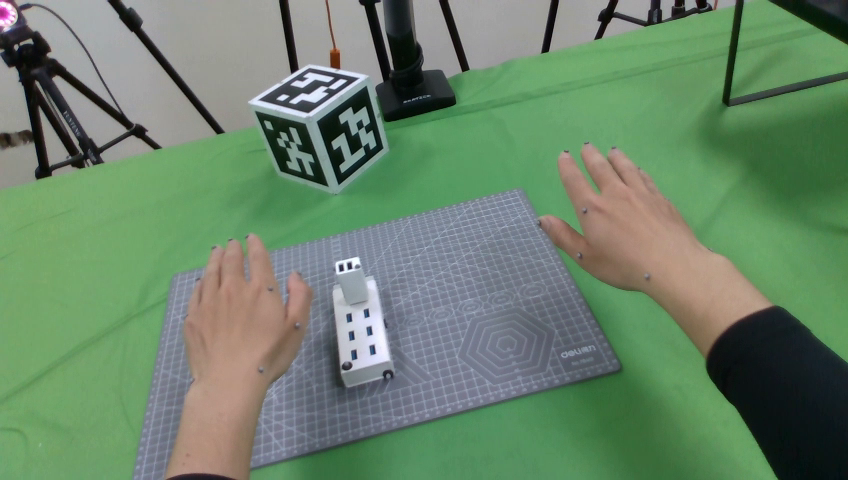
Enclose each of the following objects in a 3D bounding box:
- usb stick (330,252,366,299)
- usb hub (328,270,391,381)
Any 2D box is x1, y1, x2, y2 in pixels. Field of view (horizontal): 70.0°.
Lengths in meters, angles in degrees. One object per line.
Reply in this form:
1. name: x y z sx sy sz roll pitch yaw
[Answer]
1. usb stick: -0.076 0.041 0.623 0.027 0.060 0.021 -18 42 -3
2. usb hub: -0.068 0.084 0.618 0.049 0.025 0.123 -15 40 -2
